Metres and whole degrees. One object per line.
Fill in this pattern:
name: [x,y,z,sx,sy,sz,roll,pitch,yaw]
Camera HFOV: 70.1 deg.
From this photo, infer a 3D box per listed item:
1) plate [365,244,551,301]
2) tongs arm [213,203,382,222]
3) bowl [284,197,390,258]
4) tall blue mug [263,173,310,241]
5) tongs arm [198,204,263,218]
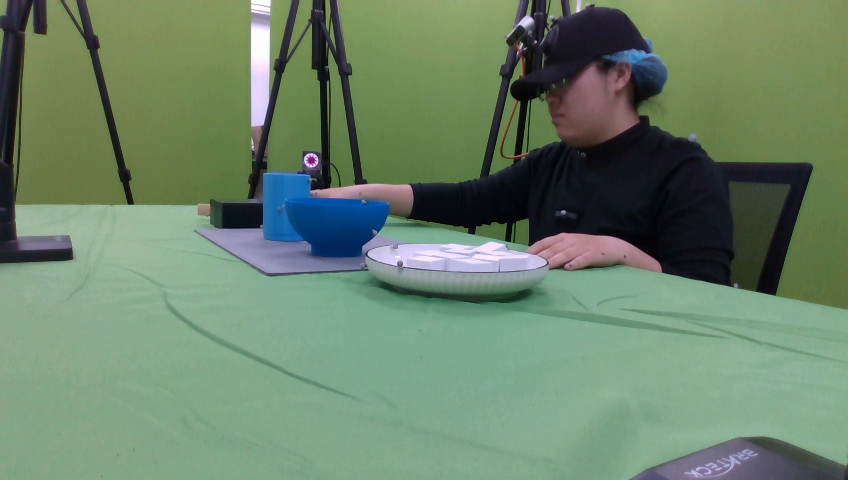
plate: [0.038,0.035,0.685,0.209,0.038,0.209,2,7,0]
tongs arm: [-0.288,-0.063,1.376,0.388,0.027,0.028,2,-2,0]
bowl: [-0.125,-0.019,0.870,0.151,0.077,0.151,2,7,0]
tall blue mug: [-0.233,-0.058,1.019,0.078,0.108,0.107,-1,8,-19]
tongs arm: [-0.282,-0.058,1.309,0.386,0.026,0.050,2,2,-9]
